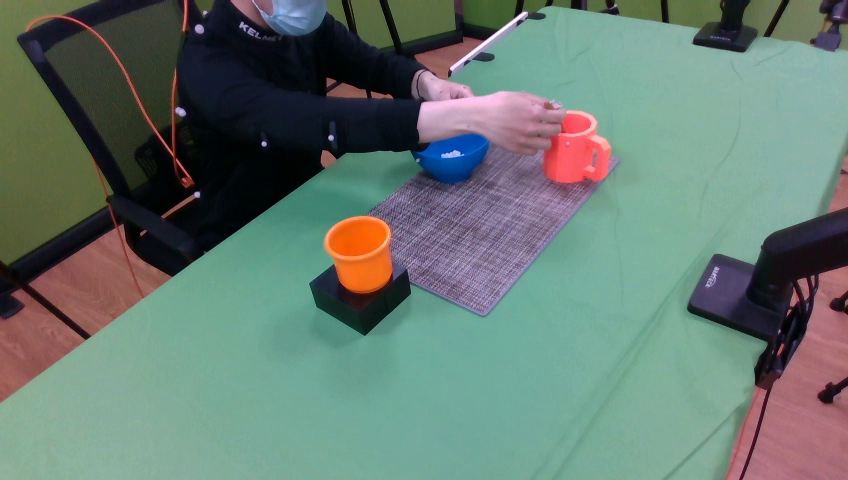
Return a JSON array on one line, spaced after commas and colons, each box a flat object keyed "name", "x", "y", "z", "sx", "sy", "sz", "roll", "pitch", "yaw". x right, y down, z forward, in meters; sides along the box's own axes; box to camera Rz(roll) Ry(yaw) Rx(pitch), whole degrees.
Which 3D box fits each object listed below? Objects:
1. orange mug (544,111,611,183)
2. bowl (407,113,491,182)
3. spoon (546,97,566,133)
[{"name": "orange mug", "x": 0.266, "y": -0.157, "z": 1.049, "sx": 0.084, "sy": 0.101, "sz": 0.125, "roll": -33, "pitch": 42, "yaw": -27}, {"name": "bowl", "x": 0.048, "y": -0.159, "z": 1.097, "sx": 0.151, "sy": 0.077, "sz": 0.150, "roll": -4, "pitch": 41, "yaw": 4}, {"name": "spoon", "x": 0.227, "y": -0.191, "z": 1.006, "sx": 0.021, "sy": 0.195, "sz": 0.041, "roll": -37, "pitch": 62, "yaw": 6}]
